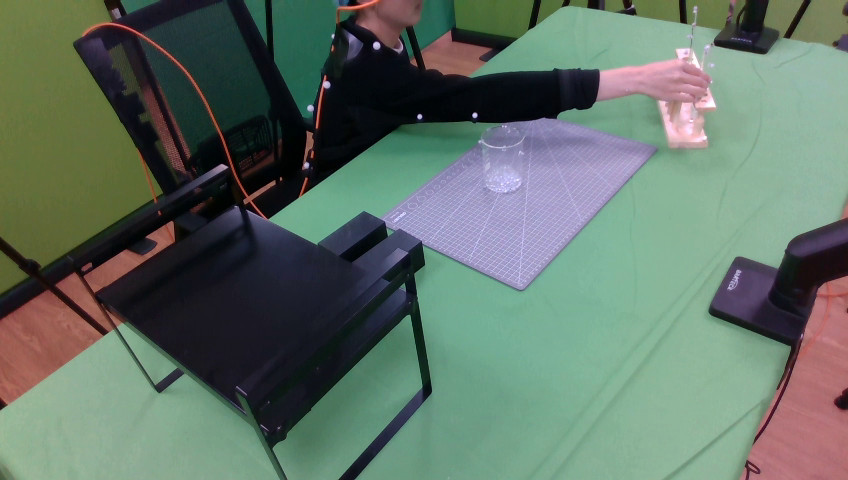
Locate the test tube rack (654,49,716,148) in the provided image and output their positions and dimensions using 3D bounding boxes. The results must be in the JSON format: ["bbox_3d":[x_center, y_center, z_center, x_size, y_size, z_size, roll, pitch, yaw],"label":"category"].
[{"bbox_3d":[0.502,-0.281,1.176,0.066,0.085,0.241,2,41,11],"label":"test tube rack"}]

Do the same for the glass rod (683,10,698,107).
[{"bbox_3d":[0.502,-0.337,1.140,0.008,0.201,0.008,-8,43,8],"label":"glass rod"}]

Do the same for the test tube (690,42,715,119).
[{"bbox_3d":[0.509,-0.288,1.107,0.017,0.151,0.017,-4,42,4],"label":"test tube"}]

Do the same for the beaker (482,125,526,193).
[{"bbox_3d":[0.141,-0.141,1.055,0.073,0.101,0.084,10,43,20],"label":"beaker"}]
